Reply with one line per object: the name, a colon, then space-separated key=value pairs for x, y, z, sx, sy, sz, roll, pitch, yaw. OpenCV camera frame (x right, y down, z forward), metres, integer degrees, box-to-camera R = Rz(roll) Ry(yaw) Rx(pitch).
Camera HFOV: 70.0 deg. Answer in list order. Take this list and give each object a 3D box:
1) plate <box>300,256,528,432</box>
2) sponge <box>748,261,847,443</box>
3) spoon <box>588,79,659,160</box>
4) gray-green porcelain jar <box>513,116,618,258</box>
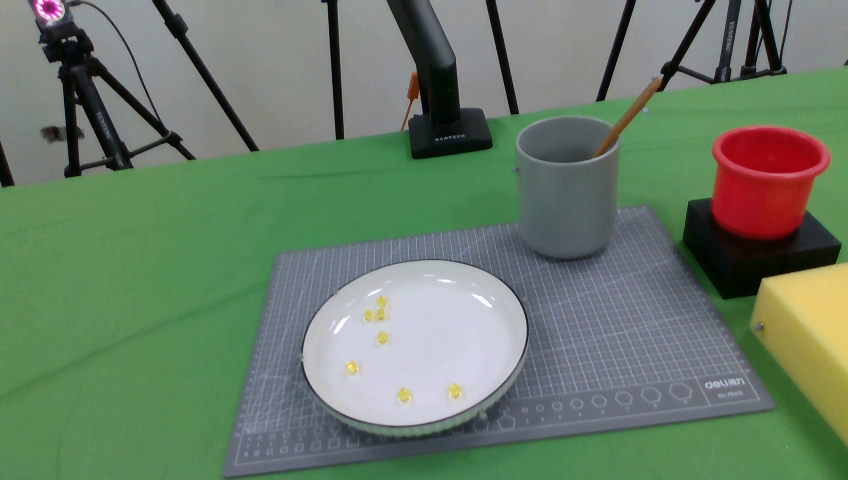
plate: x=-0.008 y=0.093 z=0.561 sx=0.207 sy=0.039 sz=0.205 roll=-6 pitch=37 yaw=5
sponge: x=0.364 y=0.102 z=0.458 sx=0.118 sy=0.061 sz=0.204 roll=-11 pitch=36 yaw=-3
spoon: x=0.175 y=-0.080 z=0.617 sx=0.021 sy=0.194 sz=0.041 roll=24 pitch=35 yaw=-3
gray-green porcelain jar: x=0.150 y=-0.053 z=0.649 sx=0.106 sy=0.128 sz=0.105 roll=-6 pitch=37 yaw=5
